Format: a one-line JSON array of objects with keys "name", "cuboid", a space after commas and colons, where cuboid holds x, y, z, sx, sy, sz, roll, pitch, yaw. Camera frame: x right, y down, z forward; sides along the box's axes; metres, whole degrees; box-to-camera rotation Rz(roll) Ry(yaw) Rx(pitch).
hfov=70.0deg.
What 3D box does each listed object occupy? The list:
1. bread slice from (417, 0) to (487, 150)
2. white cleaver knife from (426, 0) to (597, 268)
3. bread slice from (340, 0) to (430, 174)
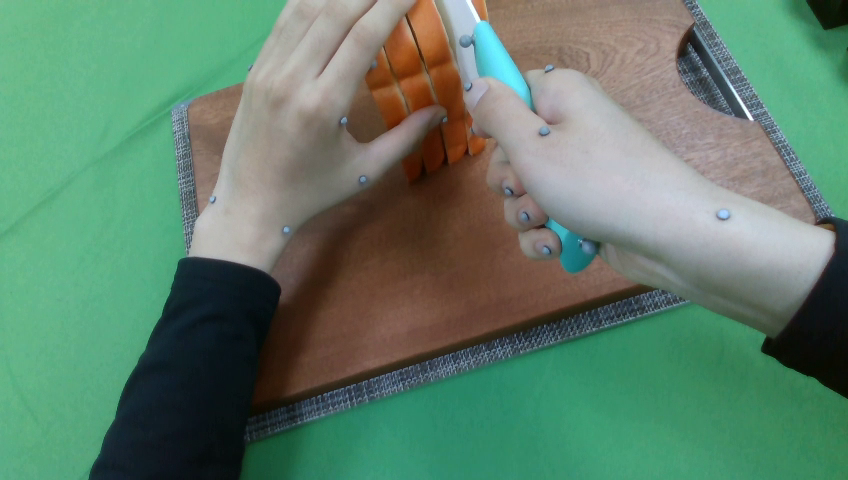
[{"name": "bread slice", "cuboid": [0.018, -0.137, 0.401, 0.019, 0.132, 0.104, -18, 65, -6]}, {"name": "white cleaver knife", "cuboid": [0.025, -0.115, 0.337, 0.021, 0.066, 0.284, -20, 74, -5]}, {"name": "bread slice", "cuboid": [-0.030, -0.121, 0.402, 0.018, 0.135, 0.106, -22, 61, 4]}]
